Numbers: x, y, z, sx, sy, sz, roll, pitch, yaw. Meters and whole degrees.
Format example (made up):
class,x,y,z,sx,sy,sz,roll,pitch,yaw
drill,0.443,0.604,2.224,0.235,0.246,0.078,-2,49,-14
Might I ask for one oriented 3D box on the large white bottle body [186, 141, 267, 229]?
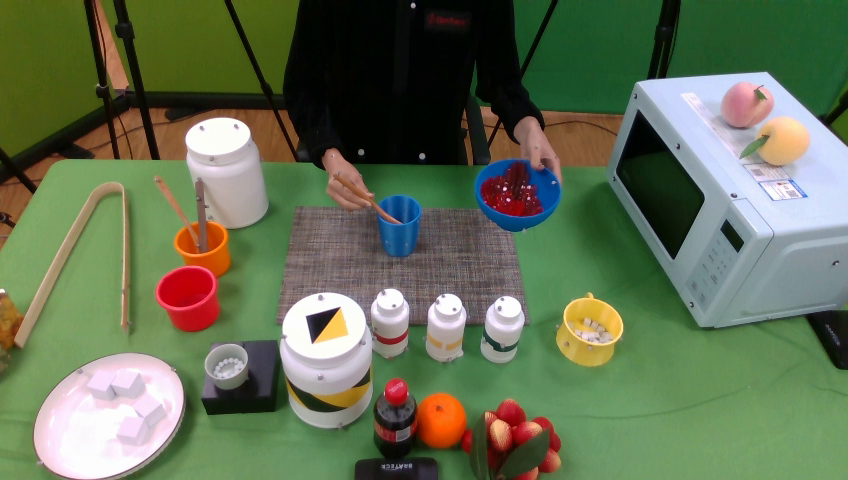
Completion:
class,x,y,z,sx,sy,sz,roll,pitch,yaw
large white bottle body,-0.383,-0.127,1.175,0.131,0.185,0.130,2,47,-2

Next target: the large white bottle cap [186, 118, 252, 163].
class,x,y,z,sx,sy,sz,roll,pitch,yaw
large white bottle cap,-0.377,-0.185,1.114,0.115,0.018,0.114,2,47,-2

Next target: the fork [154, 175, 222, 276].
class,x,y,z,sx,sy,sz,roll,pitch,yaw
fork,-0.431,-0.026,1.101,0.028,0.018,0.207,-33,100,-25

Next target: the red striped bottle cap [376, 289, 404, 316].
class,x,y,z,sx,sy,sz,roll,pitch,yaw
red striped bottle cap,-0.055,0.098,0.958,0.044,0.018,0.044,0,48,0

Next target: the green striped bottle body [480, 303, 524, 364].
class,x,y,z,sx,sy,sz,roll,pitch,yaw
green striped bottle body,0.129,0.147,1.000,0.063,0.120,0.063,2,46,-2

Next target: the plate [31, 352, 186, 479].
class,x,y,z,sx,sy,sz,roll,pitch,yaw
plate,-0.459,0.262,0.898,0.209,0.038,0.208,2,46,-2

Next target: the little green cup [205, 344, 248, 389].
class,x,y,z,sx,sy,sz,roll,pitch,yaw
little green cup,-0.294,0.191,0.909,0.061,0.039,0.061,1,47,-1

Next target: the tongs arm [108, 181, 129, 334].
class,x,y,z,sx,sy,sz,roll,pitch,yaw
tongs arm,-0.571,0.019,1.123,0.051,0.026,0.382,-11,47,-12

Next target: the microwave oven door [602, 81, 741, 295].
class,x,y,z,sx,sy,sz,roll,pitch,yaw
microwave oven door,0.456,-0.107,1.162,0.039,0.245,0.353,-7,47,-10

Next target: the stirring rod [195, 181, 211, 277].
class,x,y,z,sx,sy,sz,roll,pitch,yaw
stirring rod,-0.403,-0.020,1.104,0.014,0.006,0.176,-6,89,-8

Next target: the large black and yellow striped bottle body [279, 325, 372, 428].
class,x,y,z,sx,sy,sz,roll,pitch,yaw
large black and yellow striped bottle body,-0.143,0.181,0.900,0.131,0.185,0.130,2,46,-2

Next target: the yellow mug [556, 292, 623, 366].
class,x,y,z,sx,sy,sz,roll,pitch,yaw
yellow mug,0.285,0.146,1.051,0.100,0.064,0.130,7,45,4

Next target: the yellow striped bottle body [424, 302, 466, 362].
class,x,y,z,sx,sy,sz,roll,pitch,yaw
yellow striped bottle body,0.035,0.143,0.995,0.063,0.121,0.062,3,46,-3

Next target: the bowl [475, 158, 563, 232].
class,x,y,z,sx,sy,sz,roll,pitch,yaw
bowl,0.162,-0.068,1.069,0.151,0.077,0.150,0,48,0

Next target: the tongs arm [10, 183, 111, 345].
class,x,y,z,sx,sy,sz,roll,pitch,yaw
tongs arm,-0.658,0.027,1.109,0.028,0.028,0.385,-2,45,2

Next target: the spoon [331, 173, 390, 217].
class,x,y,z,sx,sy,sz,roll,pitch,yaw
spoon,-0.095,-0.062,1.096,0.041,0.195,0.021,-19,40,42

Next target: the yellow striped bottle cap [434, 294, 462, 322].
class,x,y,z,sx,sy,sz,roll,pitch,yaw
yellow striped bottle cap,0.038,0.107,0.958,0.044,0.019,0.044,2,45,-2

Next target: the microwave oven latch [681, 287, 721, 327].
class,x,y,z,sx,sy,sz,roll,pitch,yaw
microwave oven latch,0.494,0.119,1.087,0.030,0.029,0.078,-5,46,-9

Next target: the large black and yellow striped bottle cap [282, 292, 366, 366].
class,x,y,z,sx,sy,sz,roll,pitch,yaw
large black and yellow striped bottle cap,-0.138,0.121,0.841,0.115,0.019,0.114,3,47,-3

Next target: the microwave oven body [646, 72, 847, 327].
class,x,y,z,sx,sy,sz,roll,pitch,yaw
microwave oven body,0.607,-0.089,1.164,0.326,0.261,0.438,-7,46,-10

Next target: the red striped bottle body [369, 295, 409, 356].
class,x,y,z,sx,sy,sz,roll,pitch,yaw
red striped bottle body,-0.059,0.134,0.997,0.063,0.120,0.062,5,48,-5

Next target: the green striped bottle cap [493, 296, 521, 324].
class,x,y,z,sx,sy,sz,roll,pitch,yaw
green striped bottle cap,0.133,0.111,0.962,0.044,0.020,0.044,2,47,-2

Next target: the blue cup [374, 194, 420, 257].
class,x,y,z,sx,sy,sz,roll,pitch,yaw
blue cup,-0.052,-0.022,1.156,0.093,0.101,0.092,2,47,-2
